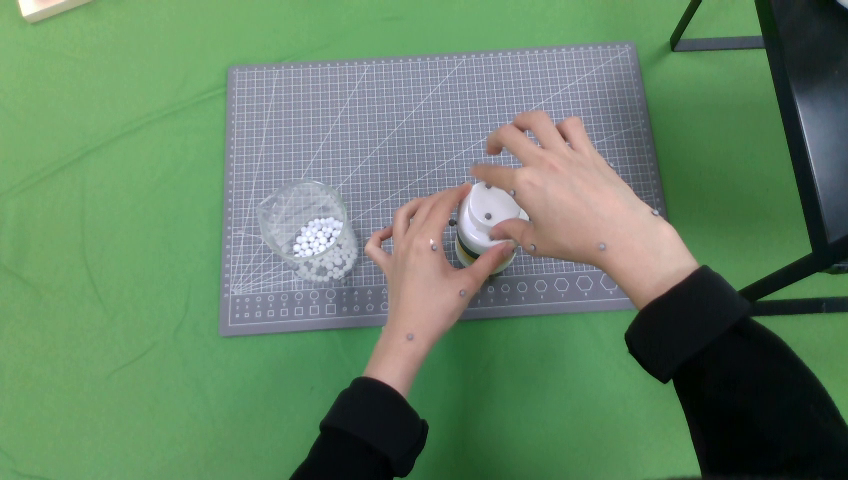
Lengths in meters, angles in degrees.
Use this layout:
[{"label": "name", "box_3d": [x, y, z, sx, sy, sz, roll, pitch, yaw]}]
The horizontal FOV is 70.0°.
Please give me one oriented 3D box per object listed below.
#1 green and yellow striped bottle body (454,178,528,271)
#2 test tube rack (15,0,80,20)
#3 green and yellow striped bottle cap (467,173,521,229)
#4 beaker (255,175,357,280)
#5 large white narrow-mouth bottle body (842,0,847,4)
[{"label": "green and yellow striped bottle body", "box_3d": [0.059, -0.016, 0.551, 0.063, 0.120, 0.063, 0, 73, 2]}, {"label": "test tube rack", "box_3d": [-0.359, -0.341, 0.674, 0.242, 0.085, 0.066, -24, 74, -6]}, {"label": "green and yellow striped bottle cap", "box_3d": [0.058, -0.032, 0.500, 0.045, 0.020, 0.045, -1, 74, 3]}, {"label": "beaker", "box_3d": [-0.105, -0.007, 0.562, 0.084, 0.101, 0.073, 16, 73, 7]}, {"label": "large white narrow-mouth bottle body", "box_3d": [0.356, -0.246, 0.393, 0.102, 0.196, 0.101, -1, 72, 3]}]
